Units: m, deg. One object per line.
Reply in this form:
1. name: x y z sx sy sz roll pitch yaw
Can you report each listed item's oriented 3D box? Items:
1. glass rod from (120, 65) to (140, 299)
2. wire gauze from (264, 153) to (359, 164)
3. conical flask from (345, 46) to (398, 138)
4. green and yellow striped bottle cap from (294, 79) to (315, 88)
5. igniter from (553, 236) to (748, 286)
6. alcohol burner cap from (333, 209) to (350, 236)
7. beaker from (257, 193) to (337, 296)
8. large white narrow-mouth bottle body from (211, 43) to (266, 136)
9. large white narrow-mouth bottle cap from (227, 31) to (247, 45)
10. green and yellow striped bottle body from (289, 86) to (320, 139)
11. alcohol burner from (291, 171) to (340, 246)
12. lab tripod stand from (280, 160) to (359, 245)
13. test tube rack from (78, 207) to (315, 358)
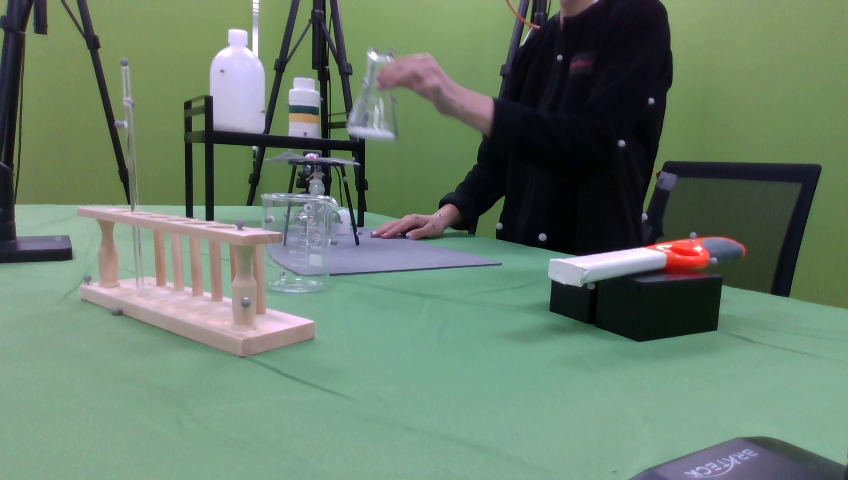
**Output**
1. glass rod: -0.249 -0.047 0.513 0.008 0.199 0.008 -1 4 0
2. wire gauze: -0.181 -0.129 0.969 0.126 0.011 0.121 -1 6 -27
3. conical flask: -0.069 -0.209 0.855 0.075 0.122 0.075 7 11 -1
4. green and yellow striped bottle cap: -0.248 -0.323 1.256 0.045 0.020 0.045 3 9 0
5. igniter: 0.221 0.017 0.559 0.278 0.025 0.057 -5 14 -39
6. alcohol burner cap: -0.151 -0.033 1.116 0.034 0.048 0.034 3 6 0
7. beaker: -0.130 0.004 0.628 0.084 0.100 0.074 5 8 15
8. large white narrow-mouth bottle body: -0.361 -0.302 1.176 0.102 0.194 0.102 1 7 0
9. large white narrow-mouth bottle cap: -0.361 -0.388 1.165 0.038 0.024 0.037 1 7 0
10. green and yellow striped bottle body: -0.250 -0.272 1.261 0.063 0.119 0.063 3 7 0
11. alcohol burner: -0.172 -0.050 0.962 0.078 0.119 0.078 1 6 0
12. lab tripod stand: -0.176 -0.062 0.973 0.148 0.131 0.148 1 7 0
13. test tube rack: -0.196 0.023 0.500 0.241 0.085 0.067 8 9 37
